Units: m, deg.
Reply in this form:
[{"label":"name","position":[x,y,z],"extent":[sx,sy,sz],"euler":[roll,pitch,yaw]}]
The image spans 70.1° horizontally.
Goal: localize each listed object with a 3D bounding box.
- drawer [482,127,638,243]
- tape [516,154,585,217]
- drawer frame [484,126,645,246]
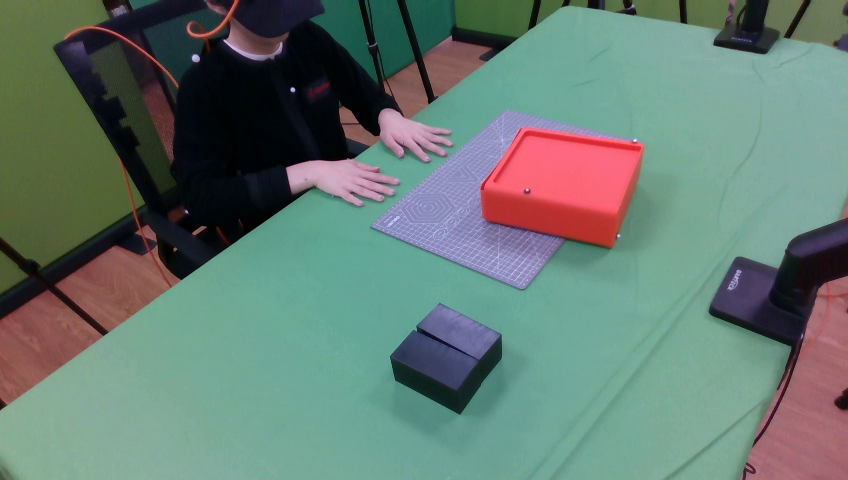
[{"label":"drawer","position":[0.228,-0.097,1.007],"extent":[0.210,0.073,0.194],"euler":[14,44,23]},{"label":"tape","position":[0.211,-0.093,1.011],"extent":[0.117,0.053,0.116],"euler":[-6,39,5]},{"label":"drawer frame","position":[0.234,-0.096,1.003],"extent":[0.212,0.083,0.202],"euler":[14,44,22]}]
